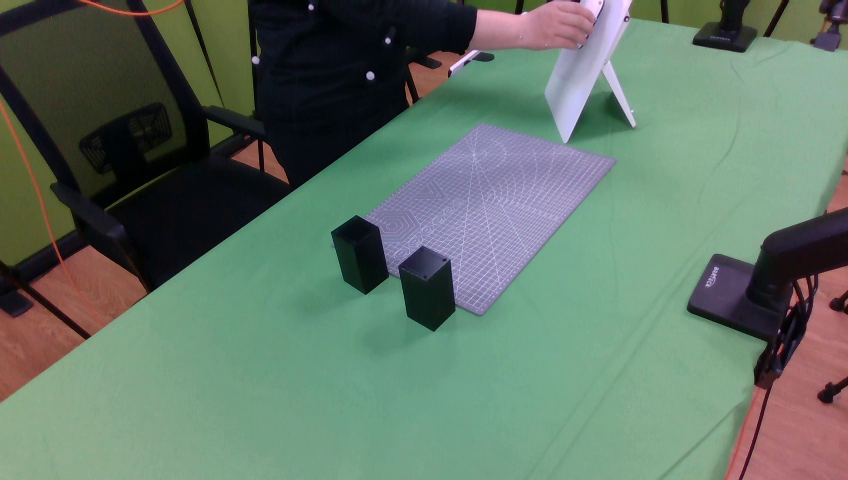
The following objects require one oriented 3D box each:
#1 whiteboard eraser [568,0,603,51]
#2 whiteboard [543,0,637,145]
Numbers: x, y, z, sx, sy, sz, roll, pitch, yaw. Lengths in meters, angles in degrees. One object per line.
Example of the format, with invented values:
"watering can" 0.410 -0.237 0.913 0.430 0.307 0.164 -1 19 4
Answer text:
"whiteboard eraser" 0.287 -0.389 1.078 0.019 0.101 0.041 7 39 -20
"whiteboard" 0.365 -0.352 1.160 0.144 0.306 0.216 9 39 -10
